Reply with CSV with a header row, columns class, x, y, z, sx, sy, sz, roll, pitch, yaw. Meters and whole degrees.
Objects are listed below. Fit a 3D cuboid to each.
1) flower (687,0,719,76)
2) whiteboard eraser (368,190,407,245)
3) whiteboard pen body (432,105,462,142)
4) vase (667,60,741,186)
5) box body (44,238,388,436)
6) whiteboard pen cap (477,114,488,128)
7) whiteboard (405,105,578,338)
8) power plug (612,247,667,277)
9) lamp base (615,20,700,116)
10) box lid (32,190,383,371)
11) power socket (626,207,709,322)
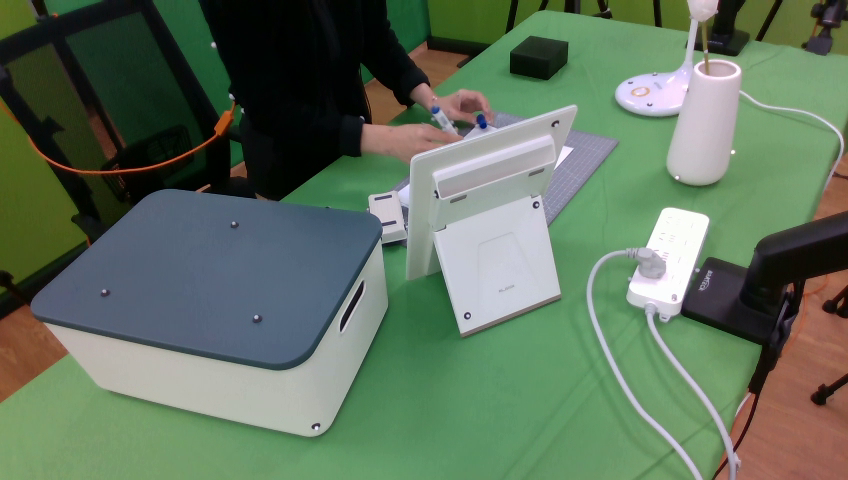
class,x,y,z,sx,sy,sz,roll,pitch,yaw
flower,0.436,-0.242,0.934,0.038,0.364,0.043,-24,49,9
whiteboard eraser,-0.061,-0.035,1.006,0.056,0.042,0.112,-9,40,-3
whiteboard pen body,0.049,-0.180,1.024,0.017,0.142,0.017,-13,58,22
vase,0.463,-0.189,0.994,0.098,0.201,0.097,-4,40,4
box body,-0.251,0.088,0.799,0.362,0.161,0.254,7,42,16
whiteboard pen cap,0.116,-0.234,1.196,0.018,0.018,0.033,-10,45,-4
whiteboard,0.102,0.003,0.787,0.218,0.306,0.143,-19,62,-14
power plug,0.306,0.031,0.852,0.072,0.053,0.035,21,48,37
lamp base,0.484,-0.364,1.211,0.180,0.181,0.159,-15,41,-14
box lid,-0.257,0.032,0.750,0.370,0.015,0.263,7,42,16
power socket,0.360,0.026,0.886,0.072,0.033,0.227,17,46,27
